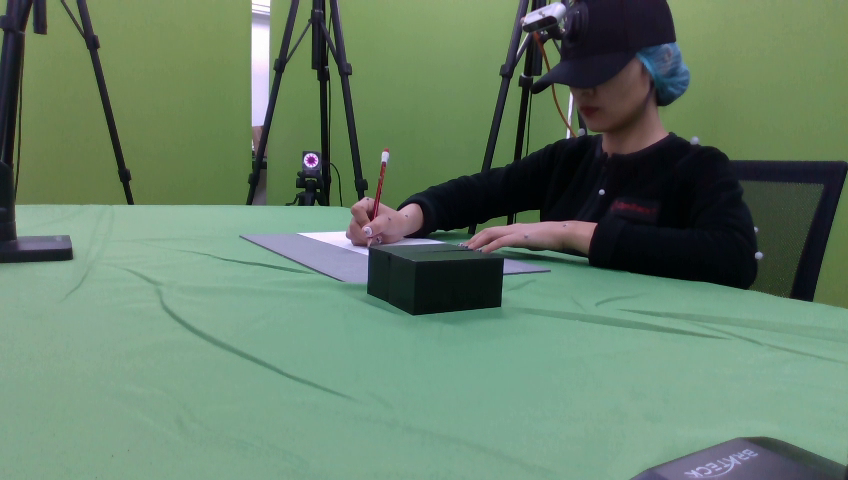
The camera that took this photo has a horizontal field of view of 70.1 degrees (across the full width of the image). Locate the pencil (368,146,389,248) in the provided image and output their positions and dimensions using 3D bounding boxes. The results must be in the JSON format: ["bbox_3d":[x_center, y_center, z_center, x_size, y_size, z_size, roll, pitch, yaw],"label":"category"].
[{"bbox_3d":[-0.074,-0.071,0.967,0.012,0.193,0.012,5,-29,3],"label":"pencil"}]
